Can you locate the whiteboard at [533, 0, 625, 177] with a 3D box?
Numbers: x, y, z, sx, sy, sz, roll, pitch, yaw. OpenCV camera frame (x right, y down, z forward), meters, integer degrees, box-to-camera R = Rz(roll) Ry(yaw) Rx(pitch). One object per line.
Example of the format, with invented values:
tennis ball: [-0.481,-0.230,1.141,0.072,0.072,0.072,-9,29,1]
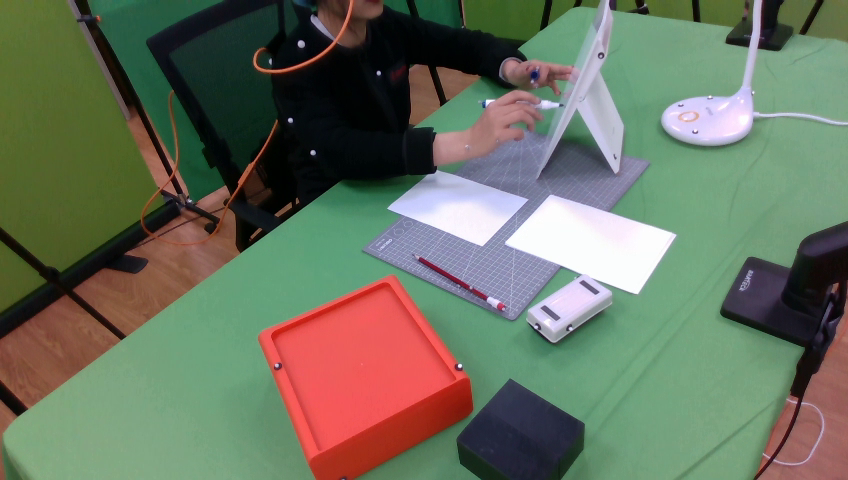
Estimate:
whiteboard: [0.321,-0.258,1.049,0.144,0.306,0.217,21,45,4]

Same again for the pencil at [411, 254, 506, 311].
pencil: [0.047,0.060,0.906,0.012,0.012,0.192,-37,46,-29]

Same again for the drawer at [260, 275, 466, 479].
drawer: [-0.080,0.162,0.759,0.195,0.073,0.210,-22,42,-16]

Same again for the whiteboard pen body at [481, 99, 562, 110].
whiteboard pen body: [0.171,-0.236,1.054,0.140,0.017,0.017,4,42,6]

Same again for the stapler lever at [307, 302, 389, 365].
stapler lever: [-0.101,0.121,0.799,0.118,0.040,0.026,-25,29,-17]

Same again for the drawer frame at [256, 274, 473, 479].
drawer frame: [-0.078,0.163,0.756,0.202,0.083,0.211,-23,43,-17]

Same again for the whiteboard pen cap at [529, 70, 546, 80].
whiteboard pen cap: [0.221,-0.322,1.181,0.033,0.018,0.018,-3,33,-33]

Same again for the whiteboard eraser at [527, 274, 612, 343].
whiteboard eraser: [0.198,0.094,0.820,0.113,0.042,0.055,-29,43,-22]

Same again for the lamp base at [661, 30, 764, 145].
lamp base: [0.535,-0.287,1.096,0.179,0.181,0.159,-10,40,-4]

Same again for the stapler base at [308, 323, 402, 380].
stapler base: [-0.094,0.142,0.812,0.131,0.024,0.041,-25,29,-17]
